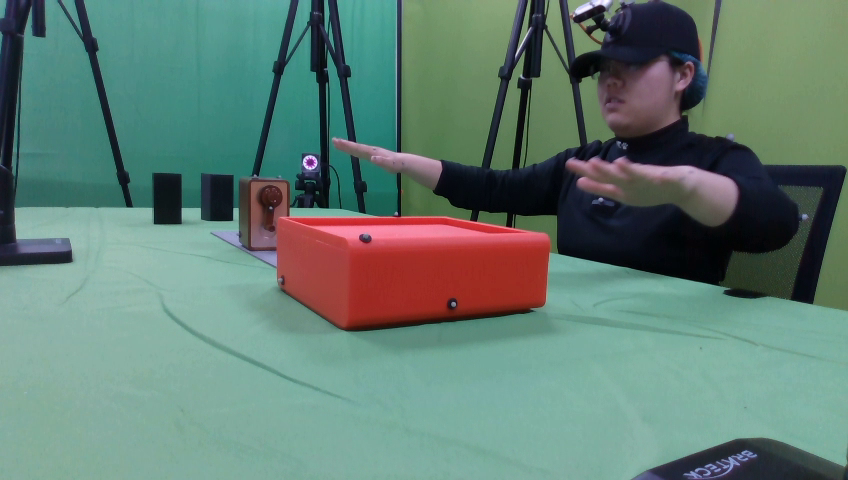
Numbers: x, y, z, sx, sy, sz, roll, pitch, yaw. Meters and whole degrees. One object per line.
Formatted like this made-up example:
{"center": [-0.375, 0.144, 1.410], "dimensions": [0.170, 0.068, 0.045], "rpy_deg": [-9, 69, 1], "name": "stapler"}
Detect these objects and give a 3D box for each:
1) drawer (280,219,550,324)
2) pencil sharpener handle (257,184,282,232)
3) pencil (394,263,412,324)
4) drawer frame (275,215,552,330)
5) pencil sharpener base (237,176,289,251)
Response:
{"center": [-0.016, 0.023, 0.612], "dimensions": [0.213, 0.073, 0.193], "rpy_deg": [-2, 9, -30], "name": "drawer"}
{"center": [-0.219, -0.046, 0.865], "dimensions": [0.036, 0.067, 0.030], "rpy_deg": [6, 5, -29], "name": "pencil sharpener handle"}
{"center": [-0.022, 0.052, 0.614], "dimensions": [0.012, 0.012, 0.194], "rpy_deg": [3, 12, 0], "name": "pencil"}
{"center": [-0.017, 0.022, 0.610], "dimensions": [0.215, 0.082, 0.200], "rpy_deg": [-2, 9, -31], "name": "drawer frame"}
{"center": [-0.243, -0.041, 0.912], "dimensions": [0.061, 0.107, 0.076], "rpy_deg": [-1, 8, -29], "name": "pencil sharpener base"}
